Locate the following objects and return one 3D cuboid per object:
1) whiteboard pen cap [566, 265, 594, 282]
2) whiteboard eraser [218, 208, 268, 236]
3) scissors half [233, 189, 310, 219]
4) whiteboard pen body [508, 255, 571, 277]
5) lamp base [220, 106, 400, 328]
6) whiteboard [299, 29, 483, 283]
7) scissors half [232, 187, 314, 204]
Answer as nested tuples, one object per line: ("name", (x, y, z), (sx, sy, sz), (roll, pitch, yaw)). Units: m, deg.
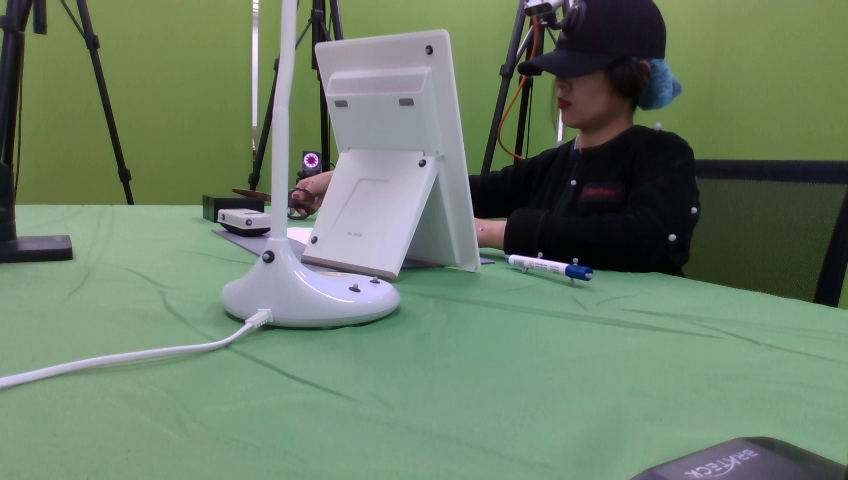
("whiteboard pen cap", (0.185, 0.040, 0.722), (0.018, 0.018, 0.033), (-3, 7, -33))
("whiteboard eraser", (-0.309, -0.031, 1.044), (0.056, 0.042, 0.112), (-2, 9, -40))
("scissors half", (-0.330, -0.081, 1.318), (0.176, 0.040, 0.013), (20, 14, -31))
("whiteboard pen body", (0.155, 0.034, 0.772), (0.017, 0.017, 0.140), (-2, 7, -31))
("lamp base", (-0.101, -0.023, 0.531), (0.160, 0.180, 0.179), (4, 10, 10))
("whiteboard", (-0.074, -0.082, 0.742), (0.216, 0.305, 0.144), (9, 29, 38))
("scissors half", (-0.324, -0.099, 1.310), (0.176, 0.040, 0.012), (0, 29, -25))
